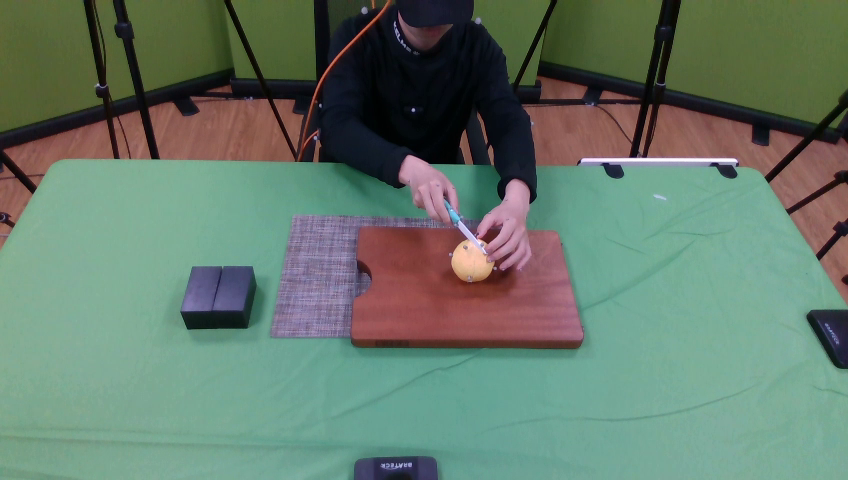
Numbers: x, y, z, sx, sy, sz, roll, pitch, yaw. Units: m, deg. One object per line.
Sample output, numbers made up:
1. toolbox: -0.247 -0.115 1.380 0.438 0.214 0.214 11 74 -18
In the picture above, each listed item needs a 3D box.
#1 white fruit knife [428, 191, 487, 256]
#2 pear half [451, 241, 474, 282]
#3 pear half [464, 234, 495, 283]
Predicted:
1. white fruit knife: 0.059 -0.033 1.084 0.016 0.027 0.206 -24 45 -16
2. pear half: 0.065 0.038 1.083 0.031 0.088 0.070 -14 51 -17
3. pear half: 0.099 0.025 1.085 0.056 0.110 0.076 -15 53 -14
